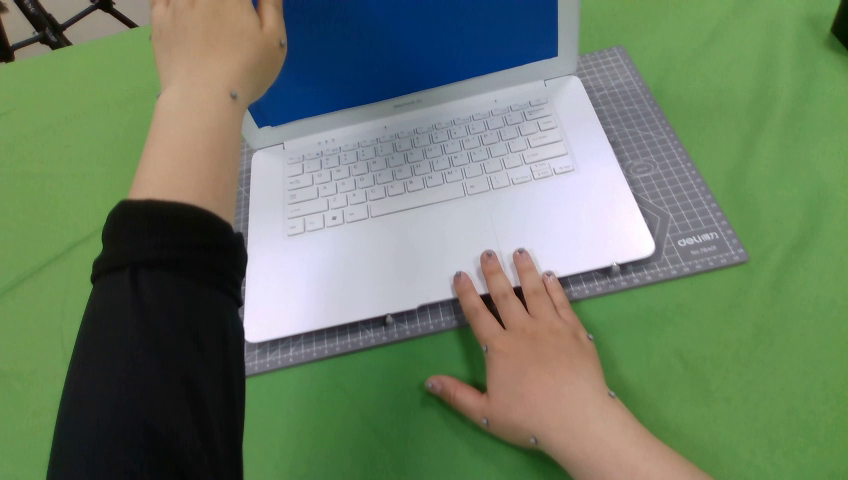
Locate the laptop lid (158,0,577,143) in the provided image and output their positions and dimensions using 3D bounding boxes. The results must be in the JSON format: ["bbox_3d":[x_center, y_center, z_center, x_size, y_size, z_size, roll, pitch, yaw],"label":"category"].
[{"bbox_3d":[-0.036,-0.201,0.543,0.356,0.244,0.013,-14,57,5],"label":"laptop lid"}]

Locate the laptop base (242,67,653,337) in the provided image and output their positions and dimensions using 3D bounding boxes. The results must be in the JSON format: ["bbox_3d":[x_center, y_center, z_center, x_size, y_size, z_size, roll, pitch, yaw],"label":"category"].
[{"bbox_3d":[0.003,-0.045,0.572,0.354,0.023,0.233,-13,56,3],"label":"laptop base"}]
